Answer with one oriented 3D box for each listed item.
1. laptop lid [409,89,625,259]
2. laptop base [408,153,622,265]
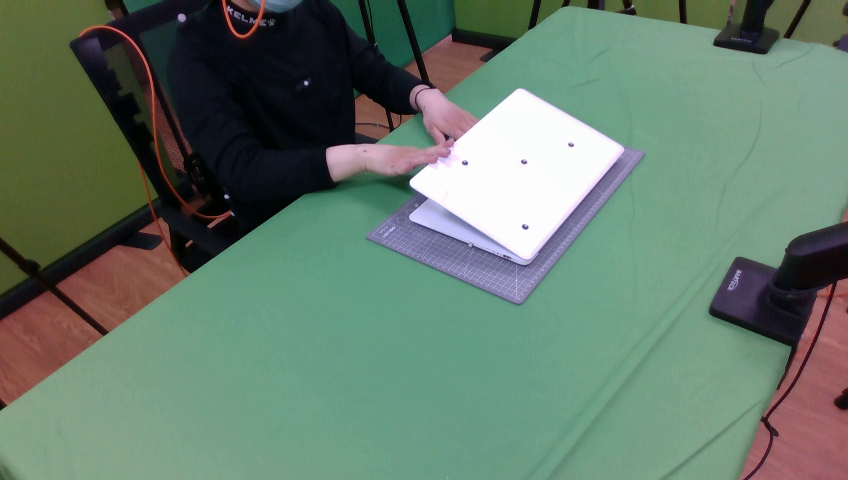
[{"bbox_3d":[0.168,-0.130,1.022,0.240,0.013,0.358,35,54,18],"label":"laptop lid"},{"bbox_3d":[0.167,-0.095,1.057,0.233,0.023,0.355,20,47,32],"label":"laptop base"}]
